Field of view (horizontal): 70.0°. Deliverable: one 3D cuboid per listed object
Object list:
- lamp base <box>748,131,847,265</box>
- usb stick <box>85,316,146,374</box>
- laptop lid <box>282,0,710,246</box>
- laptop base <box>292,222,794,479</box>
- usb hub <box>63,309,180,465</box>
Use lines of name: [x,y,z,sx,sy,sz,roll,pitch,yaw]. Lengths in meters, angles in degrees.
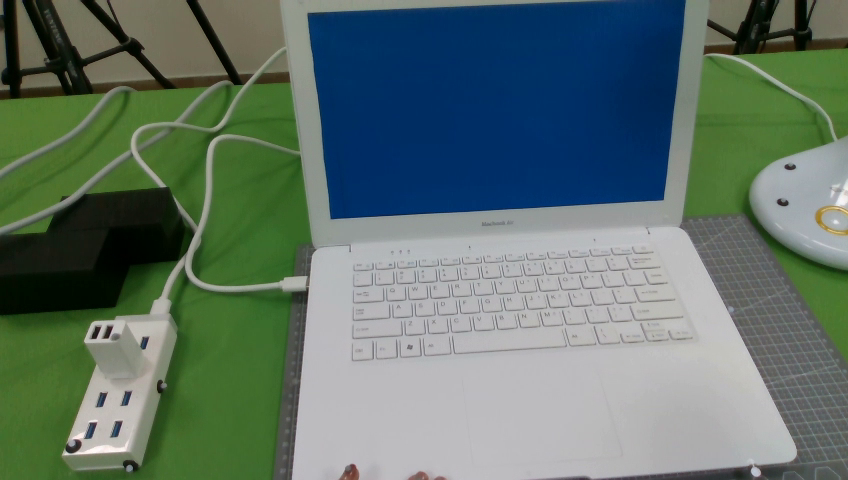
lamp base: [0.411,-0.096,0.555,0.160,0.182,0.178,18,46,19]
usb stick: [-0.227,0.083,0.453,0.027,0.060,0.021,-5,45,-1]
laptop lid: [0.065,-0.109,0.530,0.357,0.243,0.013,-5,24,-2]
laptop base: [0.078,0.082,0.496,0.355,0.023,0.233,-3,48,-3]
usb hub: [-0.229,0.109,0.468,0.049,0.025,0.124,-3,44,-1]
